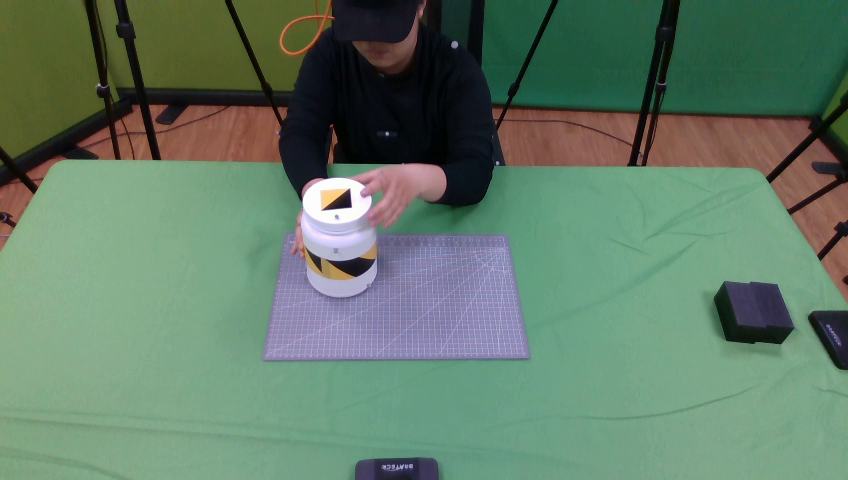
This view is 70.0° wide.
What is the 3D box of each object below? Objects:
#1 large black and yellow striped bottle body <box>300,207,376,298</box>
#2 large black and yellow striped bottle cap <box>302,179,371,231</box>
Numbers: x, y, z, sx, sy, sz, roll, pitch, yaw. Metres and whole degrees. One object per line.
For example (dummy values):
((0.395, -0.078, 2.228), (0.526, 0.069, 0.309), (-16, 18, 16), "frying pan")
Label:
((-0.150, -0.001, 1.072), (0.131, 0.185, 0.130), (2, 46, -2), "large black and yellow striped bottle body")
((-0.145, -0.060, 1.009), (0.115, 0.019, 0.114), (2, 45, -2), "large black and yellow striped bottle cap")
